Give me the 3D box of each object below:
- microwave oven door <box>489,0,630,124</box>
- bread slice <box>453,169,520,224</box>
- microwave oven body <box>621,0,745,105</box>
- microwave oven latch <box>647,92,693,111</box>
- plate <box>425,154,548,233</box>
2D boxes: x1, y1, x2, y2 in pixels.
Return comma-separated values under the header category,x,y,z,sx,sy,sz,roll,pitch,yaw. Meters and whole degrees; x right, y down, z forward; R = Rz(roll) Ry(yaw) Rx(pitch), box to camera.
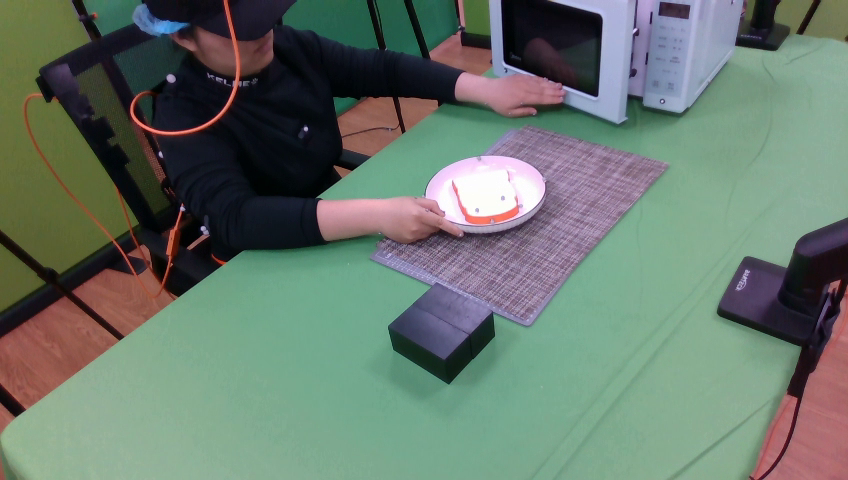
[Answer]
category,x,y,z,sx,sy,sz,roll,pitch,yaw
microwave oven door,0.264,-0.398,1.209,0.039,0.245,0.352,-32,45,-24
bread slice,0.112,-0.076,1.040,0.105,0.019,0.130,-11,40,-1
microwave oven body,0.416,-0.486,1.290,0.438,0.261,0.327,21,50,33
microwave oven latch,0.477,-0.273,1.177,0.078,0.029,0.030,23,50,33
plate,0.108,-0.076,1.038,0.209,0.038,0.208,-5,40,5
